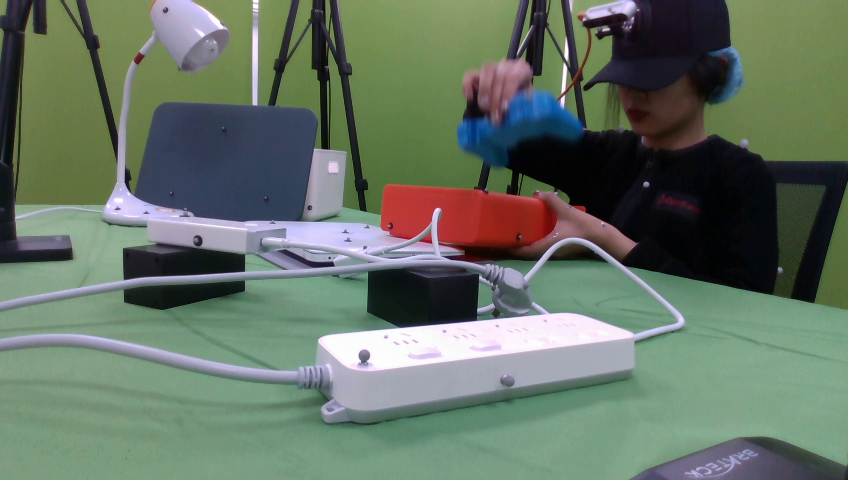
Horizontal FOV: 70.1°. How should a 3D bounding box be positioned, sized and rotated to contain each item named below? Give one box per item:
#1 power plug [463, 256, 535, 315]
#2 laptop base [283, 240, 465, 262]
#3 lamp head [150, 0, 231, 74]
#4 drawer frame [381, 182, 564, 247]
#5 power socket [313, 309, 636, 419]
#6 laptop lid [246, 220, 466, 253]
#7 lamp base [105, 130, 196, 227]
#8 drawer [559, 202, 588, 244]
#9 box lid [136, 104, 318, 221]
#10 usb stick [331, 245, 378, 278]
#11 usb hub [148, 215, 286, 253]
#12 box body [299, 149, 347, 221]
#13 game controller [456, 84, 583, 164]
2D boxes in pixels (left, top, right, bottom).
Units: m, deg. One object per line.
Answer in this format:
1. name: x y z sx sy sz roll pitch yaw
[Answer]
1. power plug: 0.064 0.039 0.530 0.072 0.052 0.035 31 43 7
2. laptop base: -0.125 0.003 0.945 0.237 0.023 0.352 1 6 -31
3. lamp head: -0.432 -0.374 1.086 0.123 0.112 0.112 42 8 -3
4. drawer frame: 0.078 -0.040 0.957 0.200 0.082 0.215 9 5 43
5. power socket: 0.039 0.072 0.385 0.228 0.032 0.072 -2 7 -28
6. laptop lid: -0.123 -0.009 0.945 0.243 0.013 0.355 1 7 -29
7. lamp base: -0.532 -0.120 1.153 0.179 0.180 0.161 1 7 8
8. drawer: 0.135 -0.036 1.018 0.193 0.073 0.213 7 4 44
9. box lid: -0.411 -0.162 1.266 0.371 0.263 0.015 3 -15 9
10. usb stick: -0.085 0.026 0.701 0.059 0.027 0.021 -18 18 27
11. usb hub: -0.197 -0.006 0.575 0.125 0.025 0.050 6 7 22
12. box body: -0.384 -0.137 1.407 0.364 0.160 0.254 3 8 7
13. game controller: 0.112 -0.148 0.761 0.098 0.051 0.154 12 -19 -36
